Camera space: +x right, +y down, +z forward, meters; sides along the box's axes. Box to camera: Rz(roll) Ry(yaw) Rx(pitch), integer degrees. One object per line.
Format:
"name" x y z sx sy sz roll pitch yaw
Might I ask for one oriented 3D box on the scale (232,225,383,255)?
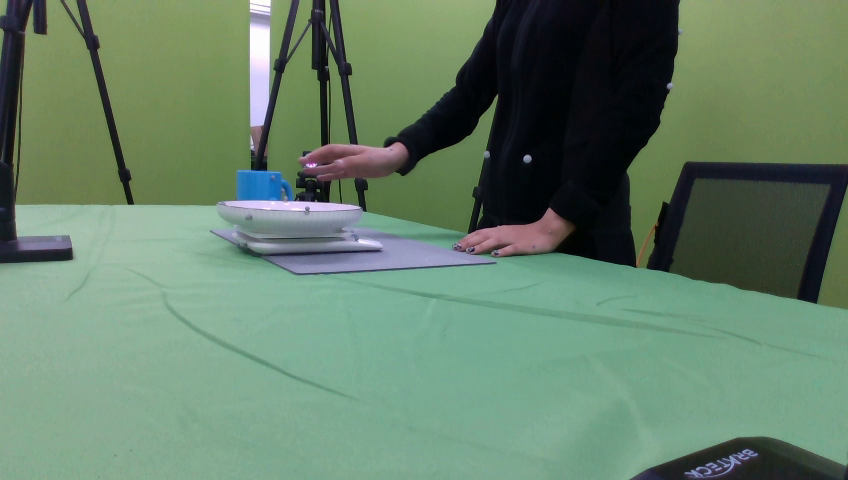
"scale" -0.177 -0.004 0.920 0.202 0.031 0.148 -1 9 -30

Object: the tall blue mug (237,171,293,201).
"tall blue mug" -0.290 -0.070 1.091 0.078 0.108 0.107 3 8 7

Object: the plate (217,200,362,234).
"plate" -0.196 -0.035 0.894 0.209 0.038 0.209 2 7 0
